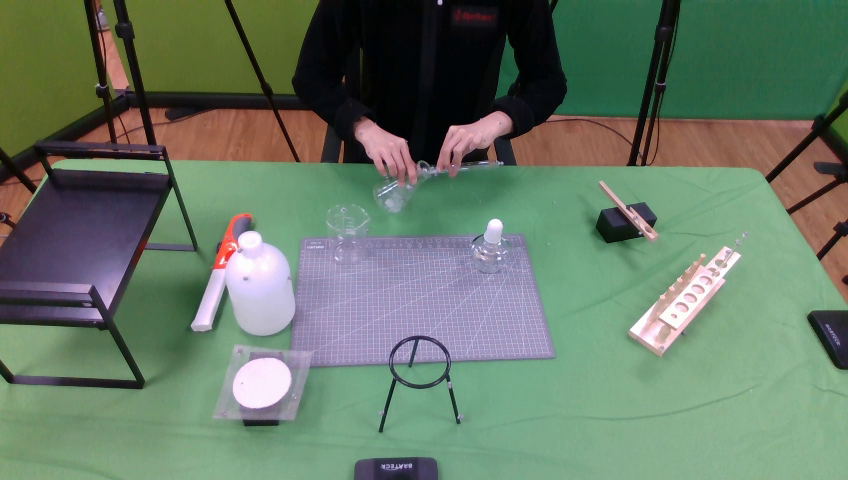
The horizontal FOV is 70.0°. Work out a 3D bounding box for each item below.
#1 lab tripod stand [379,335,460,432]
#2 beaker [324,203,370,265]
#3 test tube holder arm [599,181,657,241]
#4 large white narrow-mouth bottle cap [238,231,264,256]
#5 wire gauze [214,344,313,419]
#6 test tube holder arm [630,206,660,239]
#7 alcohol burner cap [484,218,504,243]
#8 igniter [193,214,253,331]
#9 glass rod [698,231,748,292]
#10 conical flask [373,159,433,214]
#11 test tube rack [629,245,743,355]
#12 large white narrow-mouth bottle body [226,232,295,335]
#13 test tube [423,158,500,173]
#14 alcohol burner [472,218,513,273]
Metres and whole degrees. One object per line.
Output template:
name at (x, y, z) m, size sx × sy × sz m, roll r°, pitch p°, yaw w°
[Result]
lab tripod stand at (-0.010, 0.214, 0.911) m, size 0.148 × 0.132 × 0.147 m, roll 1°, pitch 45°, yaw 0°
beaker at (-0.142, -0.009, 1.137) m, size 0.084 × 0.101 × 0.073 m, roll -3°, pitch 47°, yaw -7°
test tube holder arm at (0.407, -0.062, 1.219) m, size 0.013 × 0.015 × 0.177 m, roll -23°, pitch 51°, yaw -13°
large white narrow-mouth bottle cap at (-0.266, 0.006, 0.932) m, size 0.038 × 0.024 × 0.037 m, roll 2°, pitch 46°, yaw -2°
wire gauze at (-0.241, 0.213, 0.915) m, size 0.121 × 0.011 × 0.124 m, roll 5°, pitch 46°, yaw 1°
test tube holder arm at (0.431, -0.034, 1.192) m, size 0.010 × 0.015 × 0.087 m, roll -23°, pitch 51°, yaw -12°
alcohol burner cap at (0.130, -0.021, 1.106) m, size 0.034 × 0.048 × 0.033 m, roll 3°, pitch 51°, yaw -4°
igniter at (-0.368, 0.050, 1.119) m, size 0.057 × 0.025 × 0.275 m, roll -3°, pitch 46°, yaw 8°
glass rod at (0.514, 0.044, 1.051) m, size 0.008 × 0.200 × 0.008 m, roll 1°, pitch 55°, yaw -1°
conical flask at (-0.036, -0.109, 1.177) m, size 0.076 × 0.122 × 0.075 m, roll 28°, pitch 44°, yaw -32°
test tube rack at (0.474, 0.095, 1.091) m, size 0.242 × 0.085 × 0.066 m, roll -34°, pitch 56°, yaw -31°
large white narrow-mouth bottle body at (-0.270, 0.065, 0.995) m, size 0.102 × 0.195 × 0.101 m, roll 2°, pitch 46°, yaw -2°
test tube at (0.068, -0.137, 1.117) m, size 0.150 × 0.017 × 0.017 m, roll -3°, pitch 42°, yaw 24°
alcohol burner at (0.128, 0.005, 1.132) m, size 0.078 × 0.120 × 0.077 m, roll 0°, pitch 47°, yaw 0°
